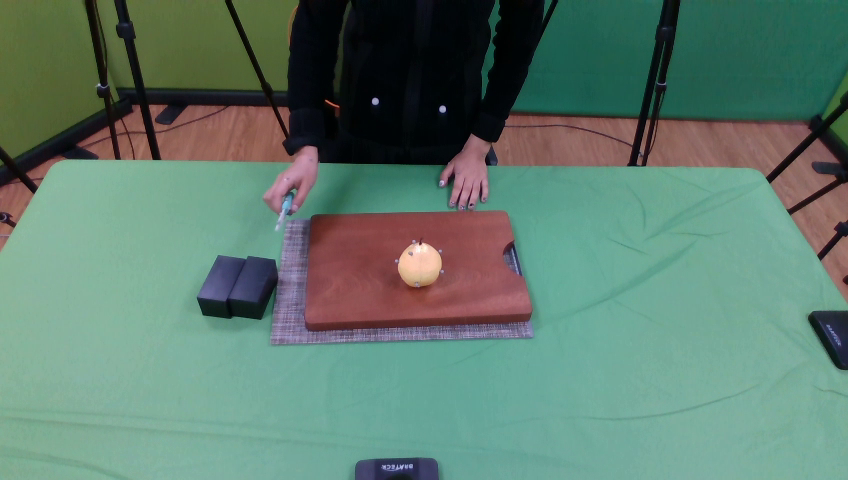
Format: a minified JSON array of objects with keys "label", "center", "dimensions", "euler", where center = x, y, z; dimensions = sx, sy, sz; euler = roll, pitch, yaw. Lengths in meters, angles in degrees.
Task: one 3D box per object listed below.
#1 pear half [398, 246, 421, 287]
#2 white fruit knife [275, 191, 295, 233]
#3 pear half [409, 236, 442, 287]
[{"label":"pear half","center":[-0.029,0.046,1.066],"dimensions":[0.031,0.088,0.070],"euler":[-18,55,-20]},{"label":"white fruit knife","center":[-0.252,-0.052,1.093],"dimensions":[0.016,0.027,0.206],"euler":[6,20,-7]},{"label":"pear half","center":[0.004,0.029,1.070],"dimensions":[0.056,0.110,0.076],"euler":[-17,53,-20]}]
